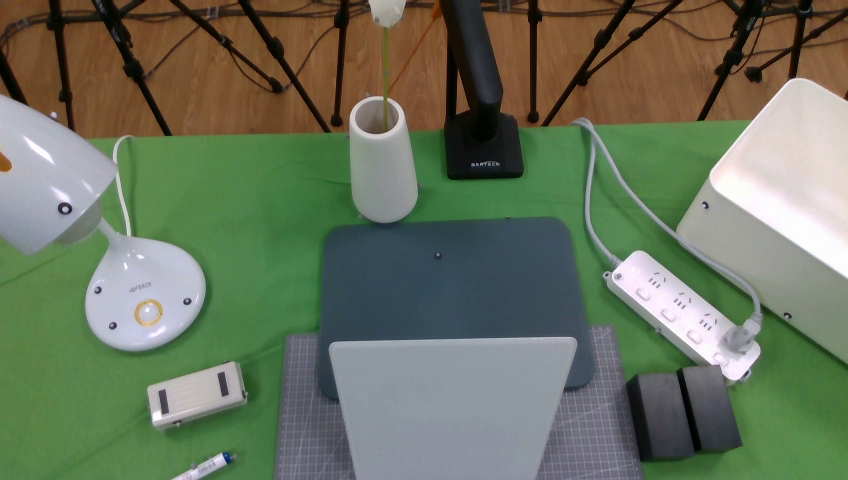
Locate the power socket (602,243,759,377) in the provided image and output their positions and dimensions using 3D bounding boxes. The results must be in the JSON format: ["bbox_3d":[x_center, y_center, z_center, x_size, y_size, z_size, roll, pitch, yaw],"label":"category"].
[{"bbox_3d":[0.350,0.093,0.830,0.072,0.033,0.225,-39,69,-19],"label":"power socket"}]

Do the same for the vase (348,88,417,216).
[{"bbox_3d":[-0.058,-0.117,0.838,0.098,0.201,0.097,1,61,-1],"label":"vase"}]

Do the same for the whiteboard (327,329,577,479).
[{"bbox_3d":[0.026,0.136,0.674,0.217,0.308,0.142,0,47,0],"label":"whiteboard"}]

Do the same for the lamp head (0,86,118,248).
[{"bbox_3d":[-0.346,-0.072,0.511,0.112,0.124,0.111,-30,31,20],"label":"lamp head"}]

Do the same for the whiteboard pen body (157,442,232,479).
[{"bbox_3d":[-0.299,0.284,0.730,0.141,0.017,0.017,-27,66,-13],"label":"whiteboard pen body"}]

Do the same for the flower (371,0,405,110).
[{"bbox_3d":[-0.053,-0.169,0.772,0.043,0.364,0.038,32,51,22],"label":"flower"}]

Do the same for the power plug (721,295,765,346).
[{"bbox_3d":[0.423,0.112,0.795,0.072,0.053,0.035,-28,65,-19],"label":"power plug"}]

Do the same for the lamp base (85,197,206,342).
[{"bbox_3d":[-0.390,0.020,0.773,0.160,0.181,0.177,-30,64,-15],"label":"lamp base"}]

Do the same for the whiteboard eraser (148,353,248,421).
[{"bbox_3d":[-0.285,0.186,0.768,0.113,0.042,0.055,-16,67,-9],"label":"whiteboard eraser"}]

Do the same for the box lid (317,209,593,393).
[{"bbox_3d":[0.040,0.077,0.846,0.372,0.015,0.261,-3,63,-2],"label":"box lid"}]

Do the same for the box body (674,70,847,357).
[{"bbox_3d":[0.563,-0.019,0.816,0.361,0.161,0.254,39,69,18],"label":"box body"}]
